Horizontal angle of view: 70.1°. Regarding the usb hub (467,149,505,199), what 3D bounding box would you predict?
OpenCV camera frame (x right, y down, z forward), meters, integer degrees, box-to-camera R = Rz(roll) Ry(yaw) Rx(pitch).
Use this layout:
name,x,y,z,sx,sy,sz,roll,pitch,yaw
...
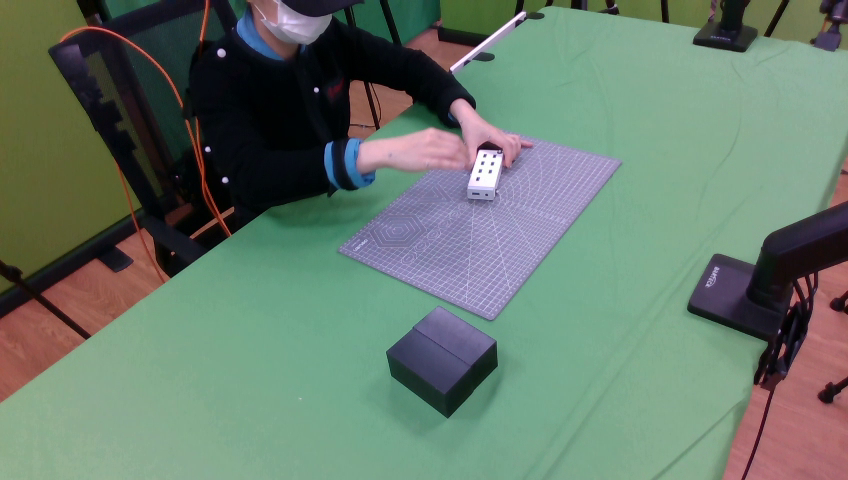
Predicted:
name,x,y,z,sx,sy,sz,roll,pitch,yaw
usb hub,0.113,-0.119,1.084,0.049,0.025,0.125,6,42,14

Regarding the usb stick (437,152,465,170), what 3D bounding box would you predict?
name,x,y,z,sx,sy,sz,roll,pitch,yaw
usb stick,0.049,-0.132,0.999,0.027,0.021,0.059,17,28,37
